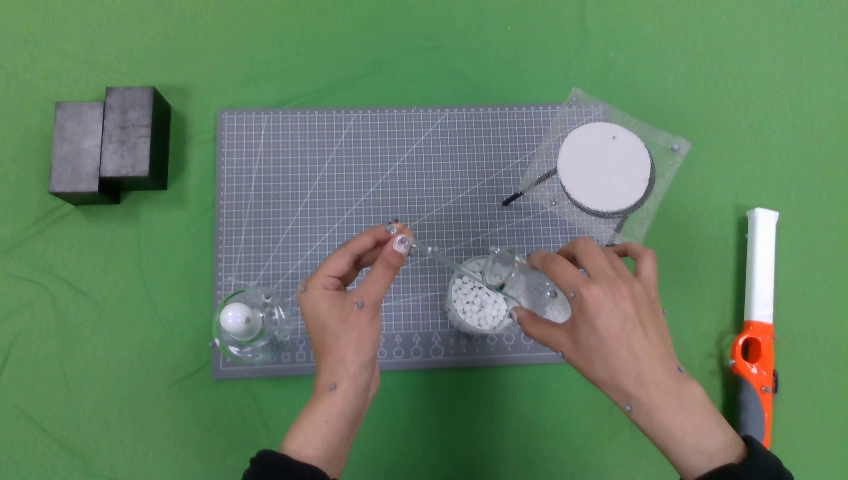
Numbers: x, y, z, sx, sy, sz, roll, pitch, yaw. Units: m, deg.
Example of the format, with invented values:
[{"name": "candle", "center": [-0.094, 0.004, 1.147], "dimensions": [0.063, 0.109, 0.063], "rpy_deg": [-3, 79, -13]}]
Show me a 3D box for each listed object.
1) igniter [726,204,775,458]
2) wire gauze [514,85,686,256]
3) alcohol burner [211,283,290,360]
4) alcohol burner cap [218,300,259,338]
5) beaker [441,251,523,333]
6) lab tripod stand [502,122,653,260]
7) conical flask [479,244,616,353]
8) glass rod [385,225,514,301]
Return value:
[{"name": "igniter", "center": [0.358, 0.097, 0.662], "dimensions": [0.057, 0.025, 0.275], "rpy_deg": [10, 79, -11]}, {"name": "wire gauze", "center": [0.162, -0.068, 0.558], "dimensions": [0.125, 0.011, 0.121], "rpy_deg": [30, 81, 3]}, {"name": "alcohol burner", "center": [-0.173, 0.078, 0.591], "dimensions": [0.078, 0.119, 0.077], "rpy_deg": [0, 80, -1]}, {"name": "alcohol burner cap", "center": [-0.172, 0.070, 0.556], "dimensions": [0.034, 0.048, 0.033], "rpy_deg": [2, 72, -4]}, {"name": "beaker", "center": [0.056, 0.059, 0.614], "dimensions": [0.074, 0.100, 0.084], "rpy_deg": [-37, 83, -8]}, {"name": "lab tripod stand", "center": [0.162, -0.053, 0.623], "dimensions": [0.148, 0.132, 0.148], "rpy_deg": [0, 80, -1]}, {"name": "conical flask", "center": [0.100, 0.044, 0.512], "dimensions": [0.123, 0.075, 0.075], "rpy_deg": [29, 76, -34]}, {"name": "glass rod", "center": [0.030, 0.025, 0.534], "dimensions": [0.008, 0.202, 0.008], "rpy_deg": [-16, 61, 32]}]
